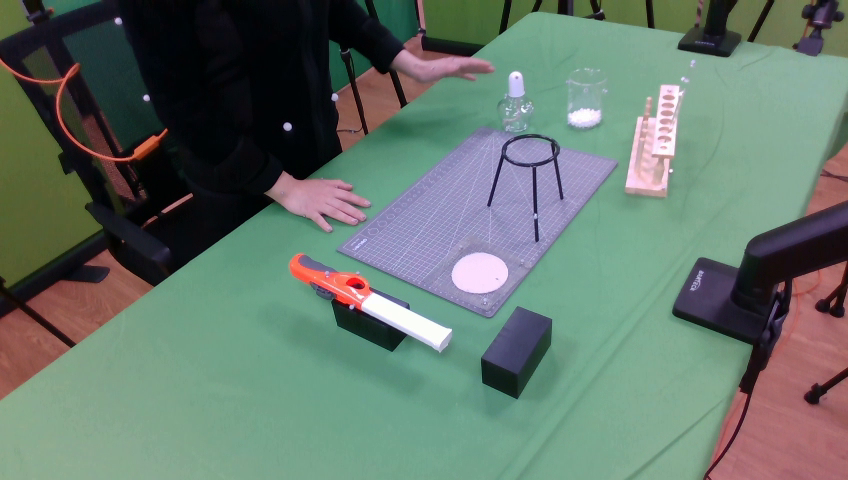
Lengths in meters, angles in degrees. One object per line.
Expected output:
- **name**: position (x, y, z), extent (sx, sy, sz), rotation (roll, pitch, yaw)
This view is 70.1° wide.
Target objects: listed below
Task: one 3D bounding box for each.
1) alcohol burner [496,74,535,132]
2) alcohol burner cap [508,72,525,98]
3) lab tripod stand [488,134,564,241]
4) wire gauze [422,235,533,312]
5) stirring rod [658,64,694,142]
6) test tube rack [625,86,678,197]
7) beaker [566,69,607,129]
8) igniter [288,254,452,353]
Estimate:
- **alcohol burner**: position (0.183, -0.278, 1.209), extent (0.078, 0.119, 0.077), rotation (-3, 42, 3)
- **alcohol burner cap**: position (0.181, -0.306, 1.186), extent (0.034, 0.048, 0.033), rotation (-7, 39, 6)
- **lab tripod stand**: position (0.168, -0.092, 0.972), extent (0.148, 0.132, 0.147), rotation (-5, 41, 5)
- **wire gauze**: position (0.081, 0.049, 0.914), extent (0.120, 0.011, 0.125), rotation (26, 52, 32)
- **stirring rod**: position (0.409, -0.213, 1.000), extent (0.006, 0.176, 0.014), rotation (36, 57, 25)
- **test tube rack**: position (0.412, -0.184, 1.088), extent (0.066, 0.085, 0.242), rotation (9, 43, 18)
- **beaker**: position (0.321, -0.279, 1.202), extent (0.073, 0.101, 0.084), rotation (11, 43, 20)
- **igniter**: position (-0.083, 0.079, 0.818), extent (0.274, 0.025, 0.057), rotation (23, 46, 27)
